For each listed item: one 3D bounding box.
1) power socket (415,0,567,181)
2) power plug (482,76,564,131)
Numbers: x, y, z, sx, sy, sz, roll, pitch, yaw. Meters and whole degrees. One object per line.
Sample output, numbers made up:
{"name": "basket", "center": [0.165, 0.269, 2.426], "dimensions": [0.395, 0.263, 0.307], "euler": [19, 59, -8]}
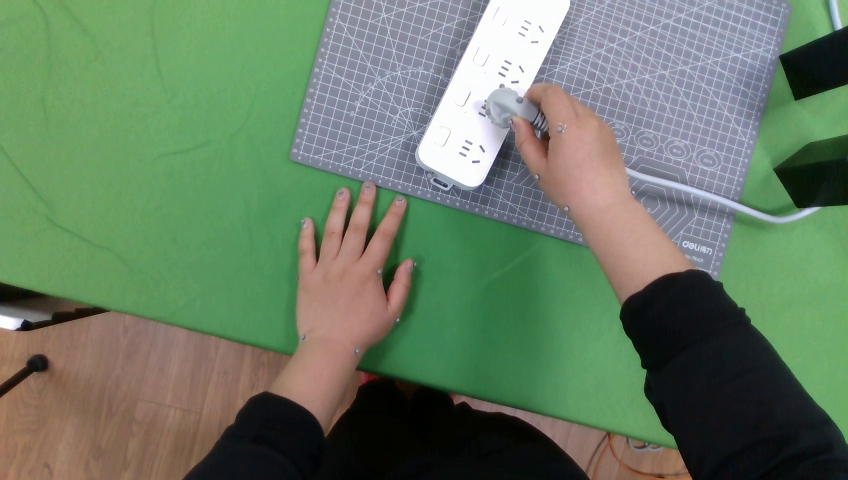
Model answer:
{"name": "power socket", "center": [0.065, -0.162, 0.581], "dimensions": [0.072, 0.032, 0.226], "euler": [26, 90, -6]}
{"name": "power plug", "center": [0.084, -0.116, 0.551], "dimensions": [0.035, 0.052, 0.073], "euler": [-47, 109, -12]}
